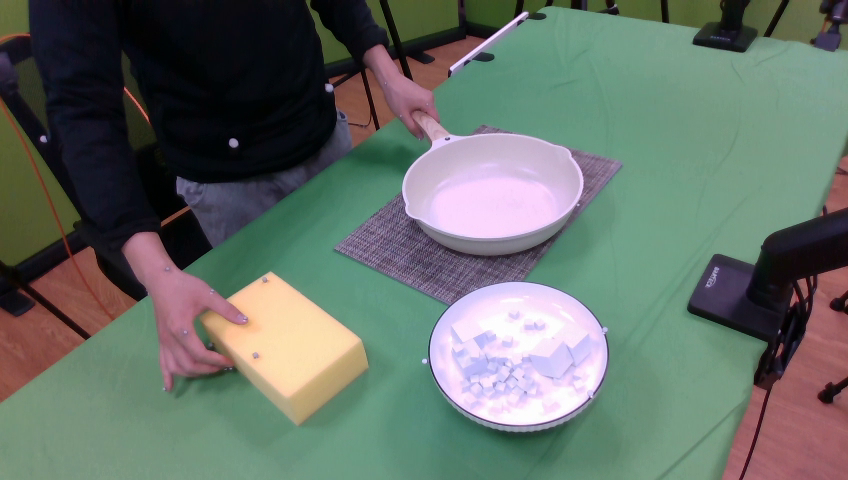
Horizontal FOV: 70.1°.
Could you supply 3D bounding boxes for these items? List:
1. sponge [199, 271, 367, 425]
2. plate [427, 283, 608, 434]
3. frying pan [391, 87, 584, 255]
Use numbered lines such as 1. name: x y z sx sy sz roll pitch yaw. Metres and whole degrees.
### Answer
1. sponge: -0.189 0.136 0.807 0.205 0.061 0.118 29 52 35
2. plate: 0.108 0.137 0.708 0.207 0.039 0.206 -4 42 4
3. frying pan: 0.063 -0.143 1.056 0.308 0.103 0.483 -22 51 -18
